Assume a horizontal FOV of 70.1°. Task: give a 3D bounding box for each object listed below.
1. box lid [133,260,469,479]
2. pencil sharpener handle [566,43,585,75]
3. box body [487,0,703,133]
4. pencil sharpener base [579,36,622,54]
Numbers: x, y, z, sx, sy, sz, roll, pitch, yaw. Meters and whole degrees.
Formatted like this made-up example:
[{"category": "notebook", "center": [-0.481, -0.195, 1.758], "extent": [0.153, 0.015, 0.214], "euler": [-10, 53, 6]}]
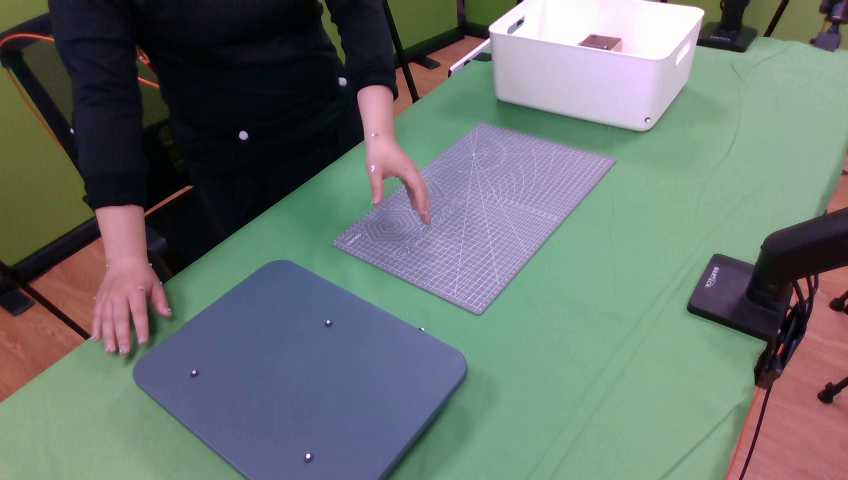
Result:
[{"category": "box lid", "center": [-0.156, 0.160, 0.747], "extent": [0.368, 0.015, 0.264], "euler": [23, 49, 31]}, {"category": "pencil sharpener handle", "center": [0.319, -0.386, 1.283], "extent": [0.030, 0.068, 0.036], "euler": [20, 40, 30]}, {"category": "box body", "center": [0.346, -0.374, 1.251], "extent": [0.361, 0.161, 0.255], "euler": [20, 48, 29]}, {"category": "pencil sharpener base", "center": [0.364, -0.363, 1.267], "extent": [0.076, 0.107, 0.061], "euler": [20, 48, 30]}]
